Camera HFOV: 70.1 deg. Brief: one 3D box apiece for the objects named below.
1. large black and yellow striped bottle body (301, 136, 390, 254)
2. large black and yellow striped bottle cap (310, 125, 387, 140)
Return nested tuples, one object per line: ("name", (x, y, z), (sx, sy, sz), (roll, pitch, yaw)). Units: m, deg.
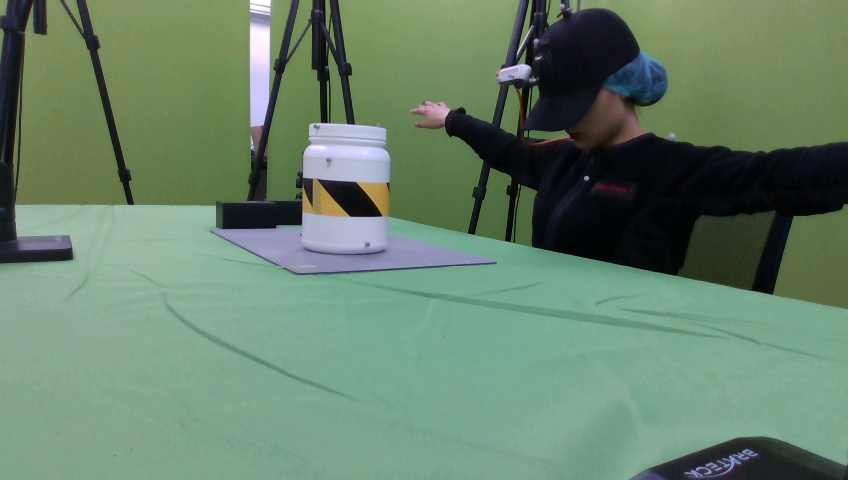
("large black and yellow striped bottle body", (-0.117, -0.077, 0.912), (0.131, 0.184, 0.130), (3, 7, 0))
("large black and yellow striped bottle cap", (-0.112, -0.160, 0.901), (0.115, 0.019, 0.115), (1, 8, 0))
